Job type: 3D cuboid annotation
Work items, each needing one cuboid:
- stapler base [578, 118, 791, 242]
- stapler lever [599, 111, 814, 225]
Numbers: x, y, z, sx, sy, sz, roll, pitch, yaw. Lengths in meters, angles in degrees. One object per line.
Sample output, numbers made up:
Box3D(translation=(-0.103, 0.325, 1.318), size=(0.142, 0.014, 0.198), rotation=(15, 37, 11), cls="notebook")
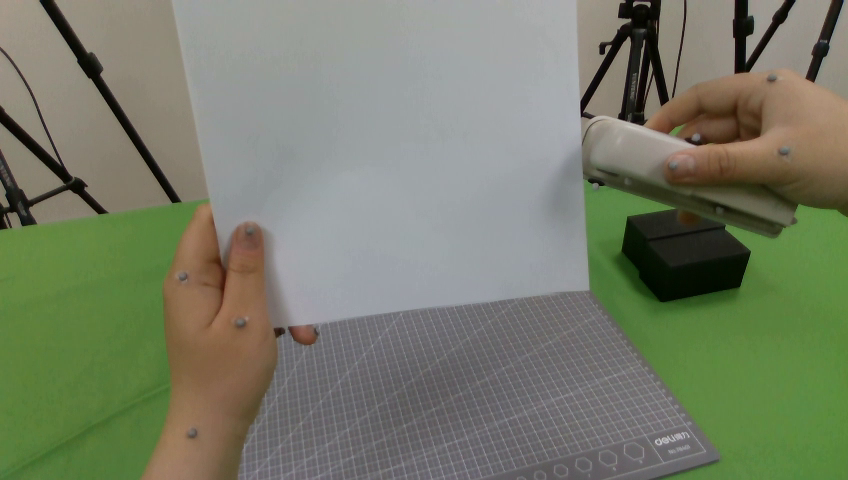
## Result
Box3D(translation=(0.159, -0.039, 0.361), size=(0.130, 0.041, 0.024), rotation=(20, 2, 8), cls="stapler base")
Box3D(translation=(0.157, -0.041, 0.336), size=(0.118, 0.027, 0.040), rotation=(20, 2, 9), cls="stapler lever")
